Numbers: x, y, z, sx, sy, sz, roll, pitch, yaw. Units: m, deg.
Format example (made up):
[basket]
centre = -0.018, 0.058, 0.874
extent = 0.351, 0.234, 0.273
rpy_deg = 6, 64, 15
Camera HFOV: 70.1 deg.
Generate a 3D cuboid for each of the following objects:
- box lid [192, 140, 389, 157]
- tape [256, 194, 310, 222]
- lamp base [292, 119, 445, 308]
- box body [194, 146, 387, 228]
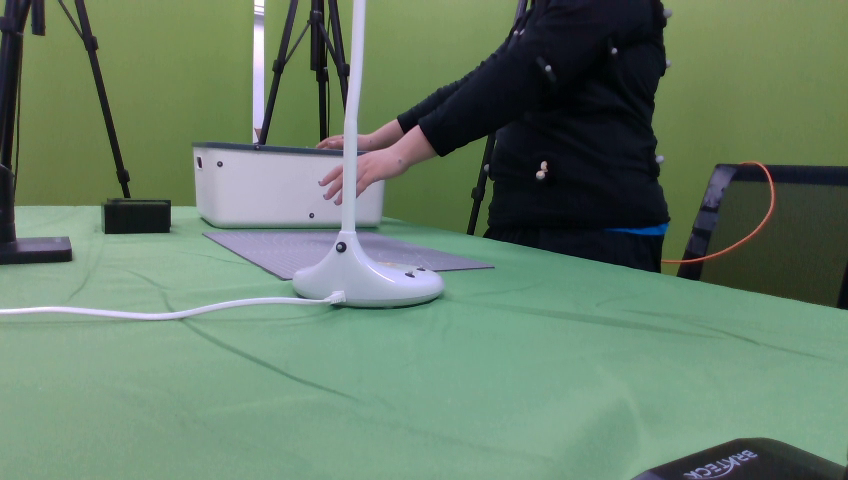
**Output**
[box lid]
centre = -0.287, -0.190, 1.281
extent = 0.373, 0.015, 0.262
rpy_deg = 0, 8, -28
[tape]
centre = -0.301, -0.069, 1.294
extent = 0.117, 0.052, 0.117
rpy_deg = 2, 7, 0
[lamp base]
centre = -0.056, -0.030, 0.616
extent = 0.160, 0.180, 0.179
rpy_deg = 4, 10, 8
[box body]
centre = -0.288, -0.118, 1.291
extent = 0.366, 0.160, 0.253
rpy_deg = -1, 8, -28
